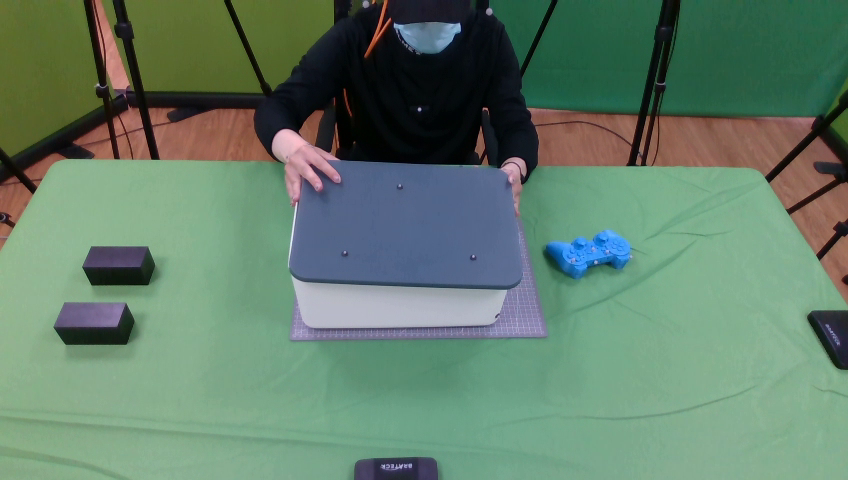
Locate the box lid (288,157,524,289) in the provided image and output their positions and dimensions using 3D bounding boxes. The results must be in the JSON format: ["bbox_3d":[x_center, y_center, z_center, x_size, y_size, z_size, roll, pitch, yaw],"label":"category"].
[{"bbox_3d":[-0.024,-0.034,1.003,0.372,0.015,0.261,2,52,-3],"label":"box lid"}]

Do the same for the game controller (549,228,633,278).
[{"bbox_3d":[0.331,0.016,1.182,0.155,0.052,0.096,-12,52,-13],"label":"game controller"}]

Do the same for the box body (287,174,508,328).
[{"bbox_3d":[-0.040,0.015,1.075,0.364,0.161,0.252,-1,47,-4],"label":"box body"}]
